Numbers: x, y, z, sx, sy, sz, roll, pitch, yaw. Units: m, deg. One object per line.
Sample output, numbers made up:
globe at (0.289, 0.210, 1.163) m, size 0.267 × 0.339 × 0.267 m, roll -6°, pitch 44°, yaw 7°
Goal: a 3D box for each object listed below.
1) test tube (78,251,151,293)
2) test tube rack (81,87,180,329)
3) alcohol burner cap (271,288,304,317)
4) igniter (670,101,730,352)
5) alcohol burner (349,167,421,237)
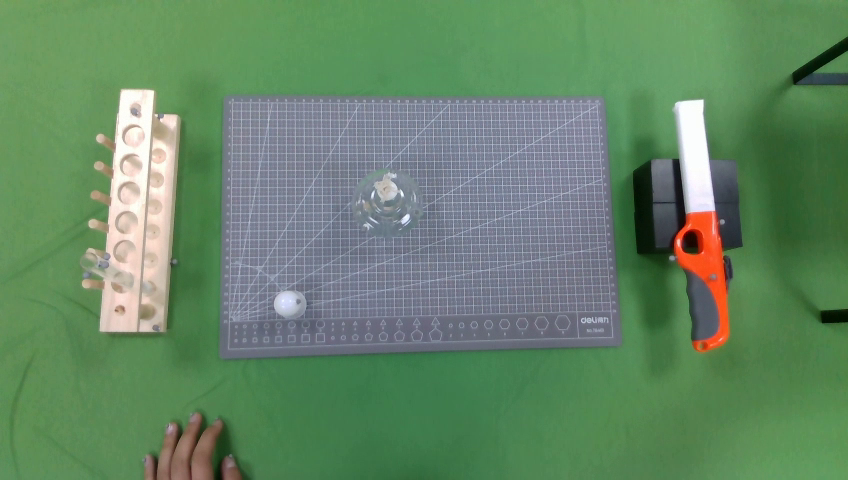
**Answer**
test tube at (-0.290, 0.032, 0.576) m, size 0.017 × 0.150 × 0.017 m, roll 2°, pitch 77°, yaw -7°
test tube rack at (-0.309, -0.029, 0.632) m, size 0.067 × 0.085 × 0.241 m, roll 1°, pitch 82°, yaw -4°
alcohol burner cap at (-0.148, 0.067, 0.652) m, size 0.034 × 0.048 × 0.034 m, roll 1°, pitch 82°, yaw -5°
igniter at (0.298, -0.017, 0.663) m, size 0.057 × 0.025 × 0.275 m, roll -3°, pitch 82°, yaw 7°
alcohol burner at (-0.041, -0.043, 0.640) m, size 0.078 × 0.119 × 0.077 m, roll 0°, pitch 83°, yaw -4°
